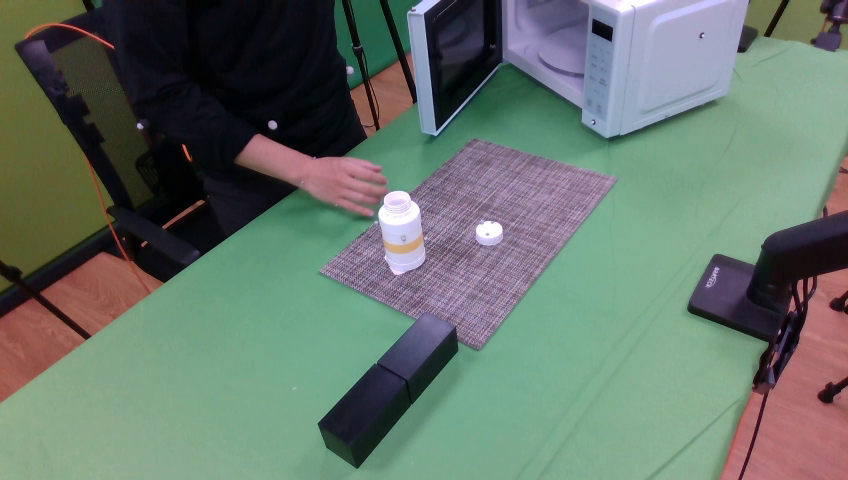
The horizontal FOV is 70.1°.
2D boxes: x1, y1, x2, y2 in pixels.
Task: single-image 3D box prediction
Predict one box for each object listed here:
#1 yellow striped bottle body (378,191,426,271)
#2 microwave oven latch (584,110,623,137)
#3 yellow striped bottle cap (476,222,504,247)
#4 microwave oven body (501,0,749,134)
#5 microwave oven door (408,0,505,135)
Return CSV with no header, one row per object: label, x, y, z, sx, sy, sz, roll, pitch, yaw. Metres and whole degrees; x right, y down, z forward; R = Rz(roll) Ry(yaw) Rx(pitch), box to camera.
yellow striped bottle body,-0.034,-0.016,0.910,0.063,0.121,0.062,-4,41,4
microwave oven latch,0.337,-0.222,1.142,0.030,0.029,0.078,-21,42,-14
yellow striped bottle cap,0.105,-0.010,0.966,0.044,0.019,0.044,-3,39,3
microwave oven body,0.381,-0.444,1.246,0.327,0.261,0.437,-22,42,-16
microwave oven door,0.078,-0.411,1.241,0.039,0.245,0.356,15,46,24
